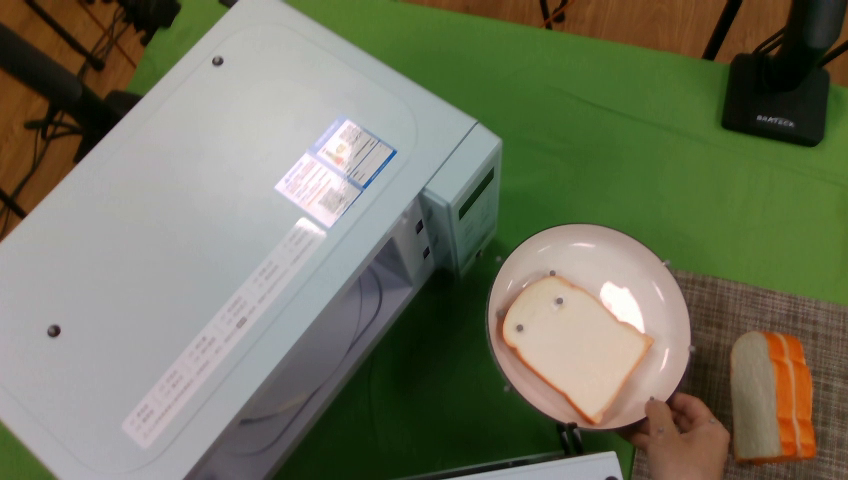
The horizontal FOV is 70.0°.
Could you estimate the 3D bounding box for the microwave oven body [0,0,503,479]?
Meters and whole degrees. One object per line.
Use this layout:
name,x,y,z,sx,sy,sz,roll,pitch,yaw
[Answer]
microwave oven body,-0.178,0.021,0.630,0.324,0.262,0.441,35,78,14

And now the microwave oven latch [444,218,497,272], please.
microwave oven latch,0.056,-0.001,0.720,0.030,0.030,0.079,37,79,15

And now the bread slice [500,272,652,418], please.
bread slice,0.143,0.098,0.604,0.134,0.018,0.106,36,71,8

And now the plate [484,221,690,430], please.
plate,0.161,0.084,0.613,0.208,0.039,0.206,2,74,-5

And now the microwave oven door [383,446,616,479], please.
microwave oven door,-0.026,0.232,0.542,0.356,0.245,0.039,-11,70,1
